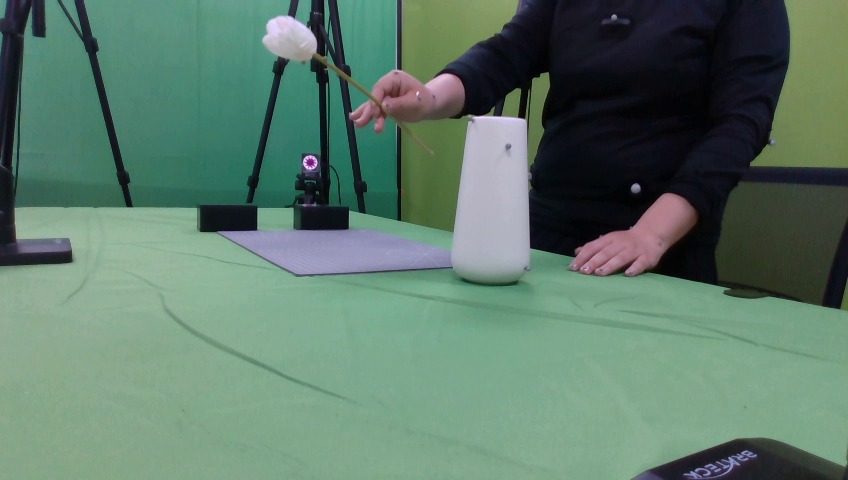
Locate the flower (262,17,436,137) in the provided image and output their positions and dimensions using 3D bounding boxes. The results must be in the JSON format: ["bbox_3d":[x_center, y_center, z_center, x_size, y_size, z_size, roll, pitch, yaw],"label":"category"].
[{"bbox_3d":[-0.073,-0.196,0.804,0.038,0.044,0.363,50,16,28],"label":"flower"}]

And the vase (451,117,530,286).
[{"bbox_3d":[0.083,-0.047,0.737,0.098,0.200,0.098,1,6,0],"label":"vase"}]
